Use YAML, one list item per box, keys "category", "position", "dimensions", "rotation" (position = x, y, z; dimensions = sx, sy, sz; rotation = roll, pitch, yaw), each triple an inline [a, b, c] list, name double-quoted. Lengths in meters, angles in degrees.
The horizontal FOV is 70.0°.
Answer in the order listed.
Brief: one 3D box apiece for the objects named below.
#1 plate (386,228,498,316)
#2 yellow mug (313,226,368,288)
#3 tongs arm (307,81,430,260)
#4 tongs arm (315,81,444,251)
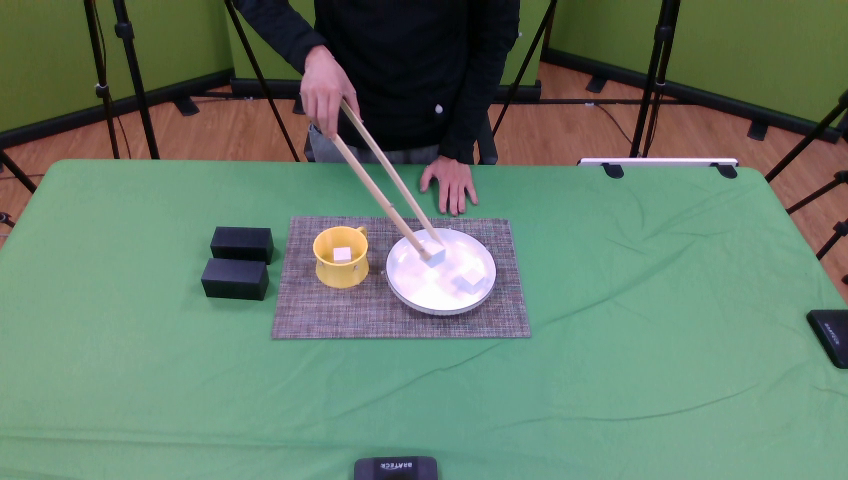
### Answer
- category: "plate"
  position: [0.032, 0.062, 1.126]
  dimensions: [0.208, 0.039, 0.206]
  rotation: [2, 46, -2]
- category: "yellow mug"
  position: [-0.146, 0.021, 1.132]
  dimensions: [0.099, 0.064, 0.130]
  rotation: [24, 49, 19]
- category: "tongs arm"
  position: [-0.100, -0.128, 1.105]
  dimensions: [0.051, 0.026, 0.384]
  rotation: [-37, 86, -28]
- category: "tongs arm"
  position: [-0.081, -0.139, 1.117]
  dimensions: [0.028, 0.028, 0.387]
  rotation: [-33, 84, -24]
